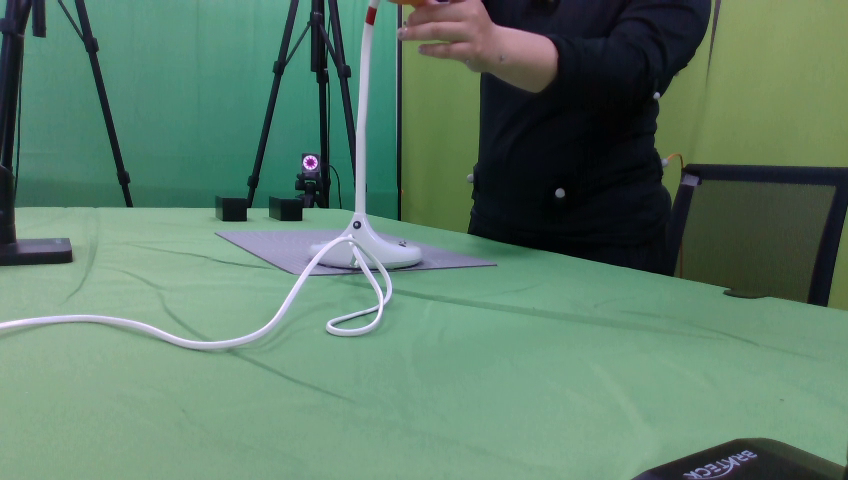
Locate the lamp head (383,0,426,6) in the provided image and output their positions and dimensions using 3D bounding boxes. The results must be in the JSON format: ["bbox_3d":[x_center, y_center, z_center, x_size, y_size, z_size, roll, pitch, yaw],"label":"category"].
[{"bbox_3d":[-0.025,-0.325,0.671,0.112,0.123,0.112,4,3,0],"label":"lamp head"}]

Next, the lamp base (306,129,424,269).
[{"bbox_3d":[-0.077,-0.057,0.810,0.161,0.180,0.179,2,10,-4],"label":"lamp base"}]
